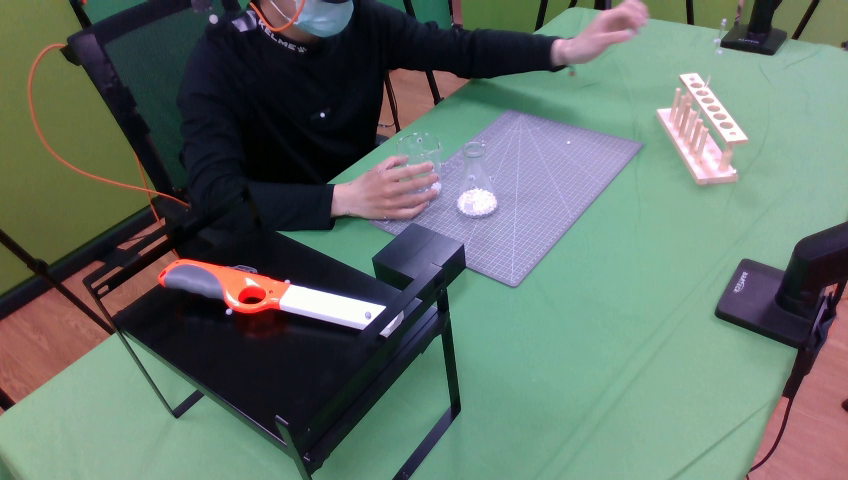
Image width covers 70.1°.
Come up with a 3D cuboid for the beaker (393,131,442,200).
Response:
[{"bbox_3d":[-0.006,-0.127,1.049,0.084,0.101,0.074,4,44,12],"label":"beaker"}]

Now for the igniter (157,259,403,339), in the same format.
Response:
[{"bbox_3d":[-0.157,0.059,0.638,0.275,0.025,0.057,11,43,14],"label":"igniter"}]

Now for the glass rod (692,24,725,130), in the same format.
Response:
[{"bbox_3d":[0.507,-0.286,1.082,0.008,0.200,0.008,0,38,0],"label":"glass rod"}]

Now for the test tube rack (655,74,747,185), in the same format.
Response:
[{"bbox_3d":[0.491,-0.205,1.092,0.067,0.085,0.241,-5,40,3],"label":"test tube rack"}]

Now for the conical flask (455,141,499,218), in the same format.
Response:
[{"bbox_3d":[0.085,-0.103,0.999,0.075,0.122,0.075,-4,40,4],"label":"conical flask"}]
